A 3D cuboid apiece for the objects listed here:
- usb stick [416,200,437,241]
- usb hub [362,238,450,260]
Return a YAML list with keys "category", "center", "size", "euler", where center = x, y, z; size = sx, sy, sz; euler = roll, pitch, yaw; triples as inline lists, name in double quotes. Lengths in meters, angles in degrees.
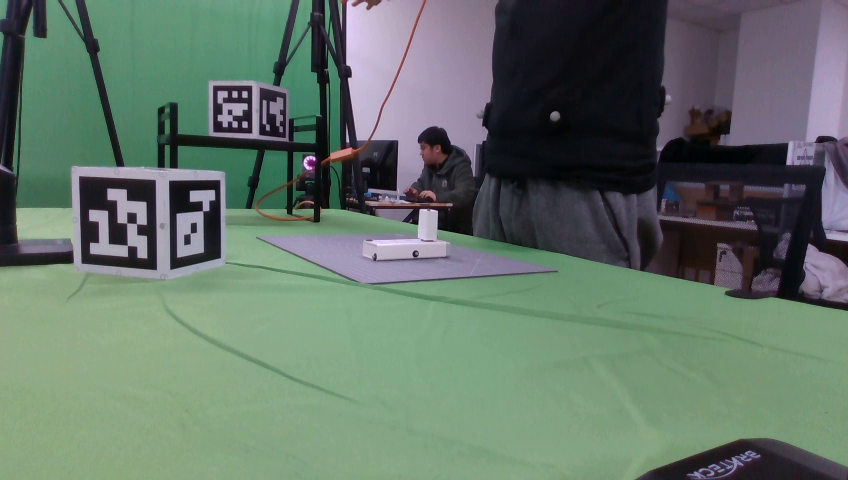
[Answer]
- category: "usb stick"
  center: [0.003, -0.029, 0.902]
  size: [0.027, 0.059, 0.021]
  euler: [2, 15, 30]
- category: "usb hub"
  center: [-0.026, 0.013, 0.894]
  size: [0.126, 0.025, 0.049]
  euler: [-1, 8, -31]
